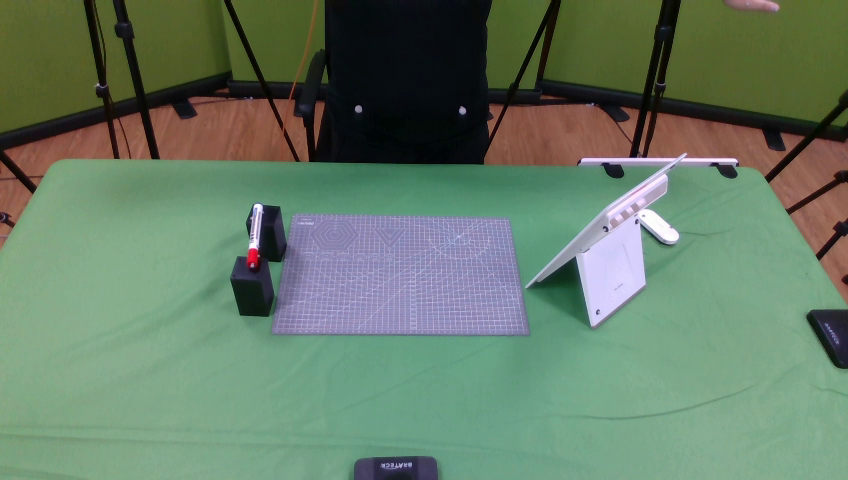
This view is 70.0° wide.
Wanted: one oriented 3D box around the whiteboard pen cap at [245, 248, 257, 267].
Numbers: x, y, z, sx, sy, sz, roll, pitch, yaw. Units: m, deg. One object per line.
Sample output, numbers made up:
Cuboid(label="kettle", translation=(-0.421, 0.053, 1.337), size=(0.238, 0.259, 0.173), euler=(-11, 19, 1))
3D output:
Cuboid(label="whiteboard pen cap", translation=(-0.288, 0.028, 1.010), size=(0.017, 0.017, 0.032), euler=(-2, 44, -6))

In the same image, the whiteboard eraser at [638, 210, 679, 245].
Cuboid(label="whiteboard eraser", translation=(0.485, -0.027, 1.260), size=(0.041, 0.019, 0.100), euler=(-21, 50, -21))

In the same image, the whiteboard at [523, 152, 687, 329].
Cuboid(label="whiteboard", translation=(0.346, 0.025, 1.046), size=(0.217, 0.306, 0.143), euler=(-30, 74, -29))

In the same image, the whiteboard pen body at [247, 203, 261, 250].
Cuboid(label="whiteboard pen body", translation=(-0.295, -0.014, 1.052), size=(0.017, 0.017, 0.139), euler=(-2, 45, -6))
